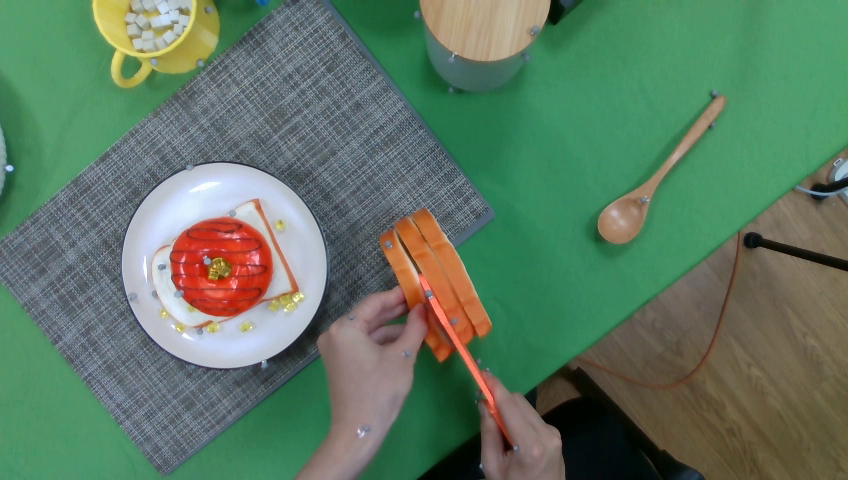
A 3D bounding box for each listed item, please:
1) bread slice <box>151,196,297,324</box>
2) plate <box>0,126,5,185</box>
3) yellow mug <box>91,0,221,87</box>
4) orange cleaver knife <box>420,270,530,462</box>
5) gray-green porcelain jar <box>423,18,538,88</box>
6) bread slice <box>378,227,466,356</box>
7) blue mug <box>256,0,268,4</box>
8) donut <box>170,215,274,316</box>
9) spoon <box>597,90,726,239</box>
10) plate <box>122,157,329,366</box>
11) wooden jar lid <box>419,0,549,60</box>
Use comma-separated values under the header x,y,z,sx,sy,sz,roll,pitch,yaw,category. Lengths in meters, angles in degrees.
x,y,z,sx,sy,sz,roll,pitch,yaw,category
-0.210,0.029,0.622,0.131,0.019,0.105,-26,91,-2,bread slice
-0.529,-0.089,0.623,0.208,0.039,0.207,0,92,1,plate
-0.270,-0.210,0.600,0.100,0.064,0.131,30,93,1,yellow mug
0.048,0.120,0.569,0.012,0.076,0.213,-29,112,1,orange cleaver knife
0.052,-0.204,0.566,0.106,0.126,0.106,0,91,1,gray-green porcelain jar
-0.001,0.047,0.590,0.018,0.107,0.134,-33,86,-1,bread slice
-0.175,-0.285,0.577,0.082,0.106,0.116,-19,91,2,blue mug
-0.196,0.025,0.590,0.099,0.048,0.099,0,92,-3,donut
0.247,-0.078,0.619,0.041,0.022,0.194,40,93,18,spoon
-0.198,0.022,0.618,0.209,0.038,0.209,0,92,1,plate
0.050,-0.203,0.503,0.108,0.020,0.108,0,93,-2,wooden jar lid
